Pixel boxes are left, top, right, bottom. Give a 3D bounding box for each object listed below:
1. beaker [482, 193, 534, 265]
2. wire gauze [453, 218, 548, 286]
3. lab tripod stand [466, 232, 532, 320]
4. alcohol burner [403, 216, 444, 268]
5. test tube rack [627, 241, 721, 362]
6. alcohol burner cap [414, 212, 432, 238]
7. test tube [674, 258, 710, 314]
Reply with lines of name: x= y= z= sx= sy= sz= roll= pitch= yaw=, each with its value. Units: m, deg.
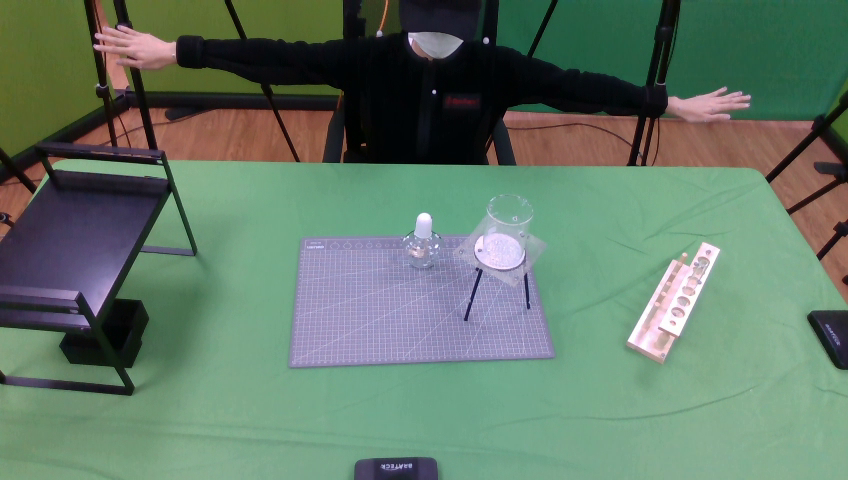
beaker: x=0.135 y=-0.016 z=0.979 sx=0.073 sy=0.101 sz=0.084 roll=35 pitch=52 yaw=28
wire gauze: x=0.129 y=0.014 z=1.018 sx=0.124 sy=0.011 sz=0.121 roll=26 pitch=47 yaw=25
lab tripod stand: x=0.125 y=0.059 z=1.065 sx=0.148 sy=0.132 sz=0.147 roll=1 pitch=45 yaw=0
alcohol burner: x=-0.001 y=-0.004 z=1.132 sx=0.078 sy=0.120 sz=0.077 roll=1 pitch=46 yaw=0
test tube rack: x=0.452 y=0.098 z=1.087 sx=0.066 sy=0.085 sz=0.242 roll=28 pitch=51 yaw=22
alcohol burner cap: x=0.000 y=-0.030 z=1.107 sx=0.034 sy=0.048 sz=0.033 roll=4 pitch=41 yaw=-3
test tube: x=0.455 y=0.082 z=1.034 sx=0.017 sy=0.151 sz=0.017 roll=-1 pitch=50 yaw=1
